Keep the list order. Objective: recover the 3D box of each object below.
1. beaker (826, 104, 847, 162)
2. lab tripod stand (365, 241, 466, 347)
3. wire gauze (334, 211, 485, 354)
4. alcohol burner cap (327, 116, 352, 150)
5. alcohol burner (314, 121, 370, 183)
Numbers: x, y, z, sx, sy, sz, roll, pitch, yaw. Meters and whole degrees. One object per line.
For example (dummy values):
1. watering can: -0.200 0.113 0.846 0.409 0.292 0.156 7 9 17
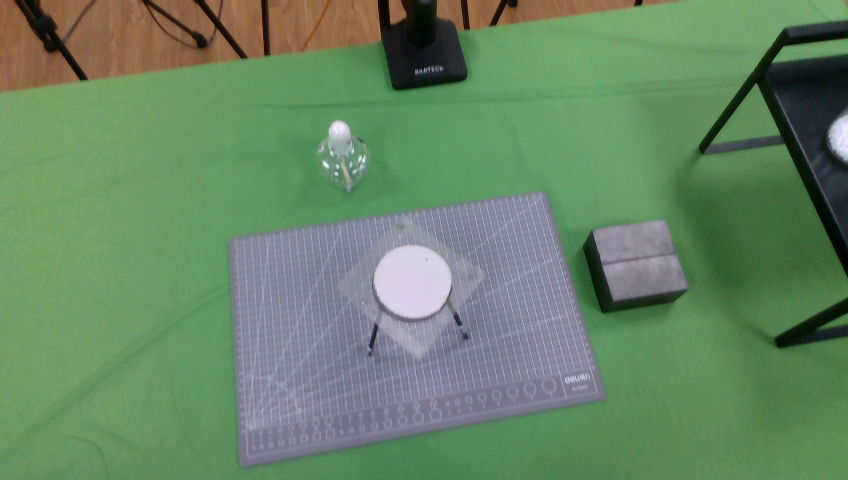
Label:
1. beaker: 0.498 -0.134 0.659 0.084 0.101 0.073 -21 68 -10
2. lab tripod stand: -0.013 0.068 0.730 0.148 0.132 0.147 2 65 -3
3. wire gauze: -0.015 0.041 0.668 0.124 0.011 0.121 38 70 13
4. alcohol burner cap: -0.112 -0.143 0.796 0.034 0.048 0.033 2 70 -5
5. alcohol burner: -0.113 -0.129 0.828 0.078 0.120 0.077 1 66 -3
